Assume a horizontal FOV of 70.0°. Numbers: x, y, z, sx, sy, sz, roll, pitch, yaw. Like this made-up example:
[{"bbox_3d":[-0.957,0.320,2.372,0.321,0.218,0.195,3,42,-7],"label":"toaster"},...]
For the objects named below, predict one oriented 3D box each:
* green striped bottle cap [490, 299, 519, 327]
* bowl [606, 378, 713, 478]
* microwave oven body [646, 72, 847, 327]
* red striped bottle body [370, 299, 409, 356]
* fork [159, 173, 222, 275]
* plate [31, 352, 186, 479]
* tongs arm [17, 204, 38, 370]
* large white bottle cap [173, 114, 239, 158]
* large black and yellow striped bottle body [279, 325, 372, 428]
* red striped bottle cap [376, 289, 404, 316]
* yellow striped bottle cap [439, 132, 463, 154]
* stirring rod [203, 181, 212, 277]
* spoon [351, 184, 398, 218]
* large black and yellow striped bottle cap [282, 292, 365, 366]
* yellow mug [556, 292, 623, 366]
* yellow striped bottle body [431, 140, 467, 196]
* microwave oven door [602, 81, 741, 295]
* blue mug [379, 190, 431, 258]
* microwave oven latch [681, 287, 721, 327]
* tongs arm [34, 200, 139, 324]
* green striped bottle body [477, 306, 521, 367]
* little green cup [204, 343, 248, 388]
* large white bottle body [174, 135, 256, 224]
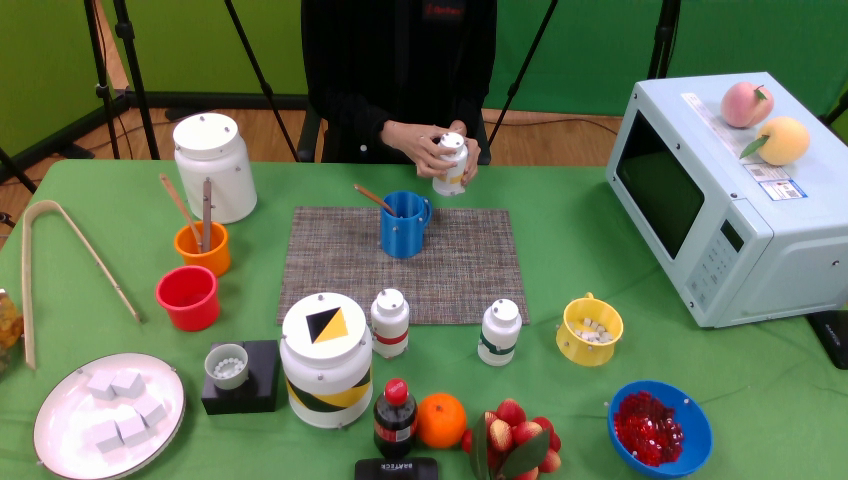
[{"bbox_3d":[0.127,0.115,0.958,0.044,0.020,0.044,3,48,-3],"label":"green striped bottle cap"},{"bbox_3d":[0.340,0.292,0.906,0.151,0.077,0.150,2,46,-2],"label":"bowl"},{"bbox_3d":[0.607,-0.089,1.164,0.326,0.261,0.438,-7,46,-10],"label":"microwave oven body"},{"bbox_3d":[-0.058,0.134,0.997,0.063,0.120,0.062,4,47,-4],"label":"red striped bottle body"},{"bbox_3d":[-0.427,-0.029,1.103,0.028,0.018,0.207,-31,99,-30],"label":"fork"},{"bbox_3d":[-0.459,0.262,0.898,0.209,0.038,0.208,2,46,-2],"label":"plate"},{"bbox_3d":[-0.698,0.069,1.069,0.028,0.028,0.385,-20,50,-13],"label":"tongs arm"},{"bbox_3d":[-0.403,-0.195,1.122,0.115,0.018,0.114,2,47,-2],"label":"large white bottle cap"},{"bbox_3d":[-0.143,0.181,0.900,0.131,0.185,0.130,2,46,-2],"label":"large black and yellow striped bottle body"},{"bbox_3d":[-0.055,0.098,0.958,0.044,0.018,0.044,0,48,1],"label":"red striped bottle cap"},{"bbox_3d":[0.049,-0.179,1.119,0.044,0.019,0.044,1,51,-1],"label":"yellow striped bottle cap"},{"bbox_3d":[-0.396,-0.021,1.108,0.014,0.006,0.176,-1,89,-1],"label":"stirring rod"},{"bbox_3d":[-0.070,-0.056,1.124,0.021,0.195,0.041,-34,47,13],"label":"spoon"},{"bbox_3d":[-0.139,0.121,0.841,0.115,0.019,0.114,3,47,-3],"label":"large black and yellow striped bottle cap"},{"bbox_3d":[0.285,0.145,1.051,0.100,0.064,0.130,7,45,3],"label":"yellow mug"},{"bbox_3d":[0.048,-0.146,1.158,0.063,0.121,0.062,2,51,-2],"label":"yellow striped bottle body"},{"bbox_3d":[0.456,-0.107,1.162,0.039,0.245,0.353,-6,47,-11],"label":"microwave oven door"},{"bbox_3d":[-0.032,-0.037,1.169,0.116,0.106,0.082,-29,55,-28],"label":"blue mug"},{"bbox_3d":[0.494,0.119,1.087,0.030,0.029,0.078,-6,46,-9],"label":"microwave oven latch"},{"bbox_3d":[-0.622,0.034,1.105,0.051,0.026,0.382,-32,56,-26],"label":"tongs arm"},{"bbox_3d":[0.124,0.151,0.995,0.063,0.120,0.063,2,46,-1],"label":"green striped bottle body"},{"bbox_3d":[-0.294,0.190,0.909,0.061,0.039,0.061,1,48,0],"label":"little green cup"},{"bbox_3d":[-0.407,-0.137,1.183,0.131,0.185,0.130,2,46,-2],"label":"large white bottle body"}]
